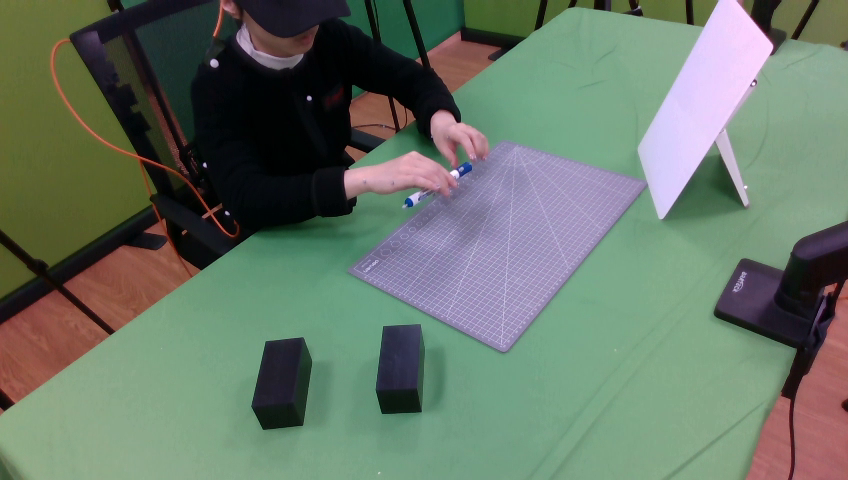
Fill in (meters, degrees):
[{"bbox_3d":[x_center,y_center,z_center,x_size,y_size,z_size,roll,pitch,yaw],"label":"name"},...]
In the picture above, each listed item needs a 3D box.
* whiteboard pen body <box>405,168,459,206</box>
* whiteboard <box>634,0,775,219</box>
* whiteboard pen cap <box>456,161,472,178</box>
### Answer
[{"bbox_3d":[0.022,-0.088,0.945,0.017,0.017,0.141,26,45,33],"label":"whiteboard pen body"},{"bbox_3d":[0.485,-0.193,0.957,0.144,0.305,0.216,14,41,-4],"label":"whiteboard"},{"bbox_3d":[0.062,-0.114,0.978,0.018,0.018,0.033,28,46,34],"label":"whiteboard pen cap"}]
